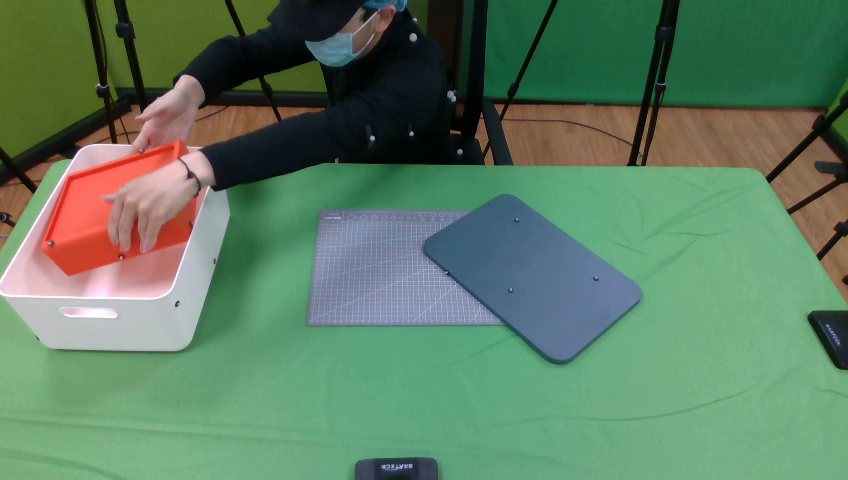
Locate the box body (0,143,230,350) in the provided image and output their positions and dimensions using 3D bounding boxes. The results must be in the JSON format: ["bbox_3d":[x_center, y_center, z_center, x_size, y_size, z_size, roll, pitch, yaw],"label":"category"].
[{"bbox_3d":[-0.502,0.007,1.055,0.254,0.161,0.361,1,46,-3],"label":"box body"}]

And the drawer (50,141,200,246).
[{"bbox_3d":[-0.496,-0.059,1.026,0.212,0.074,0.193,-17,46,2],"label":"drawer"}]

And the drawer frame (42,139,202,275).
[{"bbox_3d":[-0.499,-0.059,1.024,0.213,0.083,0.200,-17,46,1],"label":"drawer frame"}]

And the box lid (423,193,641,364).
[{"bbox_3d":[0.202,0.054,1.168,0.263,0.015,0.369,-31,56,-30],"label":"box lid"}]

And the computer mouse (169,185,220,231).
[{"bbox_3d":[-0.397,-0.061,1.021,0.063,0.041,0.116,-35,48,-27],"label":"computer mouse"}]
